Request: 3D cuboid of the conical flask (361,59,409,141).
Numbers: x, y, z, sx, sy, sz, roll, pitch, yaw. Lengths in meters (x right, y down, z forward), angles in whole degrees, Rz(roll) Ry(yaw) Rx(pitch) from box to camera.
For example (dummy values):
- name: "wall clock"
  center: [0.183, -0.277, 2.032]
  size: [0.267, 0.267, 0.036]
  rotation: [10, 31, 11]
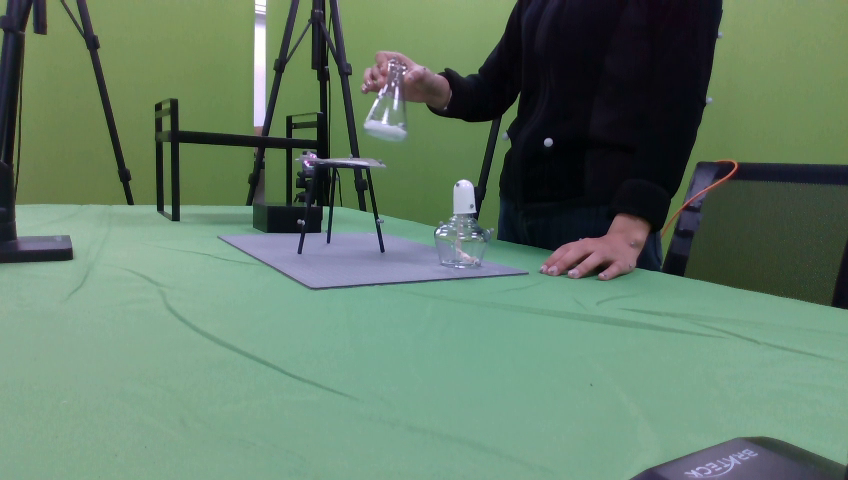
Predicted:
- name: "conical flask"
  center: [-0.055, -0.227, 0.981]
  size: [0.075, 0.122, 0.075]
  rotation: [12, -2, 1]

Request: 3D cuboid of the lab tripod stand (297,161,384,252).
- name: "lab tripod stand"
  center: [-0.130, -0.051, 0.903]
  size: [0.148, 0.131, 0.148]
  rotation: [4, 9, 0]

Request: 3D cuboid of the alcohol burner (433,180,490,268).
- name: "alcohol burner"
  center: [0.052, -0.021, 0.815]
  size: [0.078, 0.119, 0.078]
  rotation: [4, 7, 0]

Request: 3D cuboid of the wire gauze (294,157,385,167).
- name: "wire gauze"
  center: [-0.128, -0.118, 0.901]
  size: [0.125, 0.011, 0.121]
  rotation: [0, 8, -14]

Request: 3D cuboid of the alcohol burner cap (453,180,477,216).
- name: "alcohol burner cap"
  center: [0.054, -0.057, 0.811]
  size: [0.034, 0.048, 0.034]
  rotation: [-3, 6, 1]
